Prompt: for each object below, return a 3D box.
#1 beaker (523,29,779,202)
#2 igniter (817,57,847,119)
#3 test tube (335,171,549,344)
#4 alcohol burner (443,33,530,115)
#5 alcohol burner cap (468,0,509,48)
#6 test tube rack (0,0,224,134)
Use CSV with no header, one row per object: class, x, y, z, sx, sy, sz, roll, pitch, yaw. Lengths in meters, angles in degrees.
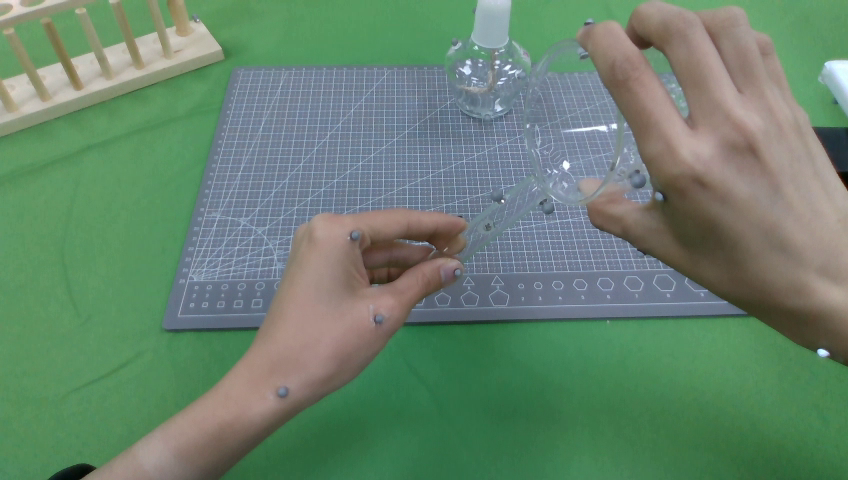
beaker,0.108,-0.059,0.294,0.100,0.084,0.073,-10,59,-20
igniter,0.347,-0.046,0.432,0.057,0.025,0.274,0,50,4
test tube,0.005,0.013,0.333,0.150,0.017,0.017,-39,51,20
alcohol burner,0.056,-0.169,0.528,0.078,0.120,0.077,1,53,-1
alcohol burner cap,0.056,-0.189,0.504,0.034,0.048,0.033,2,51,-2
test tube rack,-0.321,-0.181,0.556,0.242,0.086,0.066,-27,57,-20
